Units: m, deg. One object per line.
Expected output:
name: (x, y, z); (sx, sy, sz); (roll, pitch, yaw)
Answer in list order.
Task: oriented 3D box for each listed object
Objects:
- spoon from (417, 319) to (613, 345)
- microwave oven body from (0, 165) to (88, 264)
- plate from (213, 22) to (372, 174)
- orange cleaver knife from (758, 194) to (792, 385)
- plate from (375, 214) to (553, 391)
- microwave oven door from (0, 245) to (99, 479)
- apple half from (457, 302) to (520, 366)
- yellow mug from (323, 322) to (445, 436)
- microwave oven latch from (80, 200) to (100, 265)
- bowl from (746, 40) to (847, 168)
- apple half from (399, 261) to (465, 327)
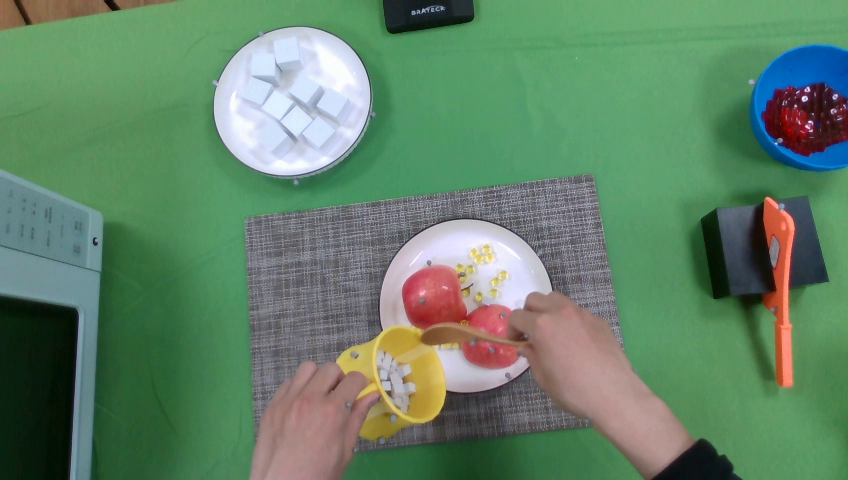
spoon: (0.083, 0.093, 0.588); (0.193, 0.042, 0.021); (0, 55, 25)
microwave oven body: (-0.574, 0.155, 0.642); (0.326, 0.261, 0.439); (-4, 79, 3)
plate: (-0.168, -0.182, 0.793); (0.207, 0.039, 0.206); (-1, 79, 5)
orange cleaver knife: (0.392, 0.055, 0.679); (0.012, 0.077, 0.212); (-6, 102, 8)
plate: (0.047, 0.074, 0.722); (0.209, 0.038, 0.208); (-1, 80, 4)
microwave oven door: (-0.427, 0.186, 0.619); (0.039, 0.245, 0.354); (-4, 78, 4)
apple half: (0.074, 0.109, 0.707); (0.081, 0.033, 0.081); (-1, 76, 5)
yellow mug: (-0.045, 0.142, 0.600); (0.064, 0.131, 0.099); (-33, 77, 35)
microwave oven latch: (-0.427, -0.008, 0.761); (0.030, 0.029, 0.079); (-2, 79, 4)
bowl: (0.448, -0.148, 0.716); (0.151, 0.077, 0.150); (-1, 79, 5)
apple half: (0.008, 0.063, 0.711); (0.074, 0.053, 0.080); (-9, 79, 5)
